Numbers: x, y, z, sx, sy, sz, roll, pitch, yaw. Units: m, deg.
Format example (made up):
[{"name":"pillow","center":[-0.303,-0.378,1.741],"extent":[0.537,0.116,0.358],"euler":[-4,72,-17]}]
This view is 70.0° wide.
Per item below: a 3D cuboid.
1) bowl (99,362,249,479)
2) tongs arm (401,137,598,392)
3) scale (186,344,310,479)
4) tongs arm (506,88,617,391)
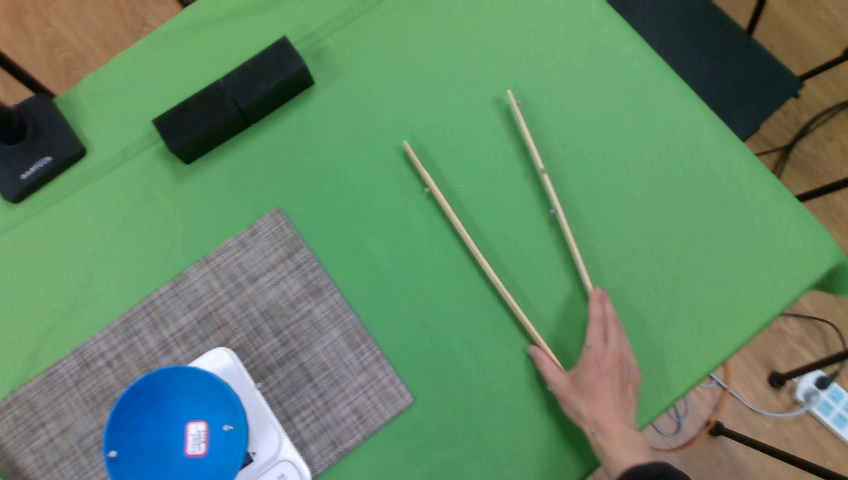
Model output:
[{"name":"bowl","center":[-0.255,0.209,0.654],"extent":[0.151,0.077,0.150],"euler":[0,77,2]},{"name":"tongs arm","center":[0.082,0.027,0.738],"extent":[0.028,0.028,0.385],"euler":[-33,79,-8]},{"name":"scale","center":[-0.241,0.237,0.702],"extent":[0.148,0.032,0.200],"euler":[-35,79,-5]},{"name":"tongs arm","center":[0.154,-0.008,0.739],"extent":[0.051,0.026,0.383],"euler":[-21,79,-2]}]
